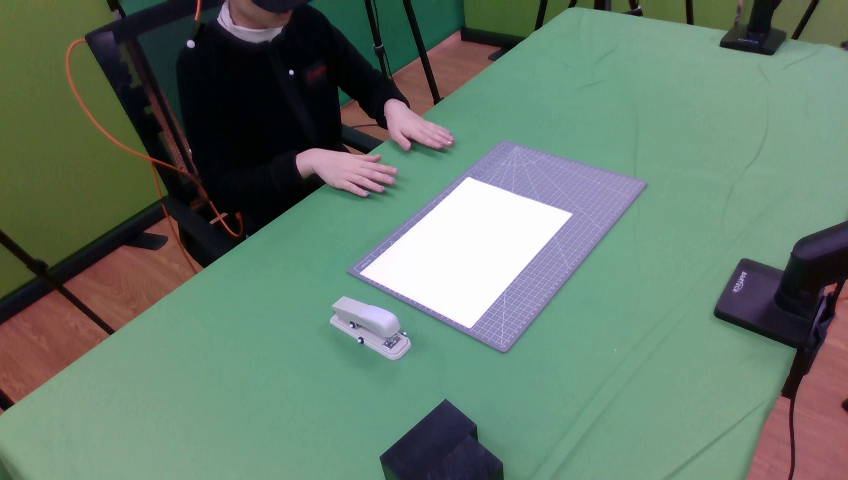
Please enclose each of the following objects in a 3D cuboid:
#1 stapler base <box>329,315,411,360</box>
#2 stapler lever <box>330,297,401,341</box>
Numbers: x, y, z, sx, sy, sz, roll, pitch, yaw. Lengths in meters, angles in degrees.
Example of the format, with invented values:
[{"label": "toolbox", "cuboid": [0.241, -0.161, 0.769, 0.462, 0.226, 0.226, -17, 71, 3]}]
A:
[{"label": "stapler base", "cuboid": [-0.077, 0.122, 0.841, 0.129, 0.024, 0.041, 22, 46, 33]}, {"label": "stapler lever", "cuboid": [-0.081, 0.102, 0.825, 0.117, 0.040, 0.027, 22, 46, 33]}]
